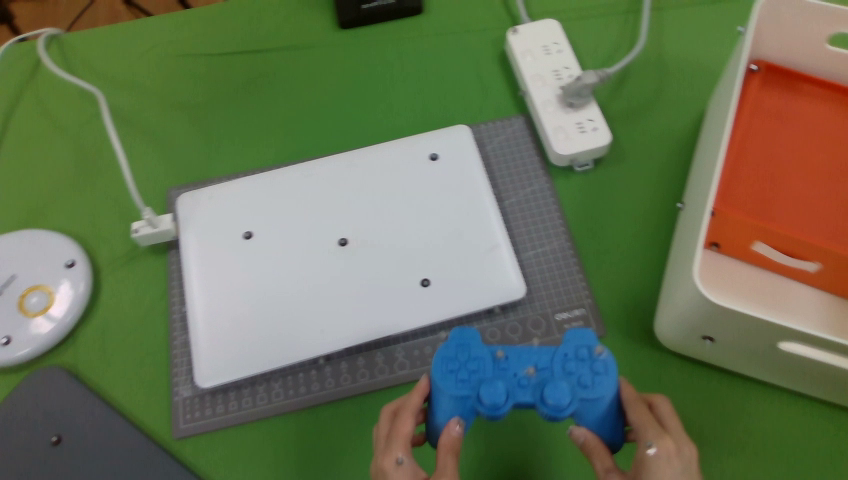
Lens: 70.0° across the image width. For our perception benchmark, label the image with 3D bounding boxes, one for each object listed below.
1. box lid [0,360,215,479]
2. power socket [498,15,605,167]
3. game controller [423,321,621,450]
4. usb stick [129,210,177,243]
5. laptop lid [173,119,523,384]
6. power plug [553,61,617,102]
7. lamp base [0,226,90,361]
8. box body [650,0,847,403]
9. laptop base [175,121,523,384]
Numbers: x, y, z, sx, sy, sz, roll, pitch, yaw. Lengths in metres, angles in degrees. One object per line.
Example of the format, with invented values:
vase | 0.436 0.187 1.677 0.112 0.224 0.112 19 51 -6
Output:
box lid | -0.323 0.301 0.555 0.369 0.015 0.262 30 69 16
power socket | 0.155 -0.192 0.753 0.072 0.033 0.224 -14 64 -5
game controller | 0.077 0.113 0.480 0.155 0.052 0.096 1 65 4
usb stick | -0.299 -0.016 0.686 0.059 0.027 0.021 -11 59 -6
laptop lid | -0.092 0.000 0.668 0.357 0.013 0.239 -14 67 -3
power plug | 0.191 -0.181 0.721 0.072 0.053 0.035 -4 63 0
lamp base | -0.468 0.019 0.602 0.179 0.182 0.159 11 65 12
box body | 0.391 -0.042 0.596 0.253 0.161 0.362 17 66 11
laptop base | -0.092 0.003 0.680 0.354 0.023 0.233 -15 68 -4
